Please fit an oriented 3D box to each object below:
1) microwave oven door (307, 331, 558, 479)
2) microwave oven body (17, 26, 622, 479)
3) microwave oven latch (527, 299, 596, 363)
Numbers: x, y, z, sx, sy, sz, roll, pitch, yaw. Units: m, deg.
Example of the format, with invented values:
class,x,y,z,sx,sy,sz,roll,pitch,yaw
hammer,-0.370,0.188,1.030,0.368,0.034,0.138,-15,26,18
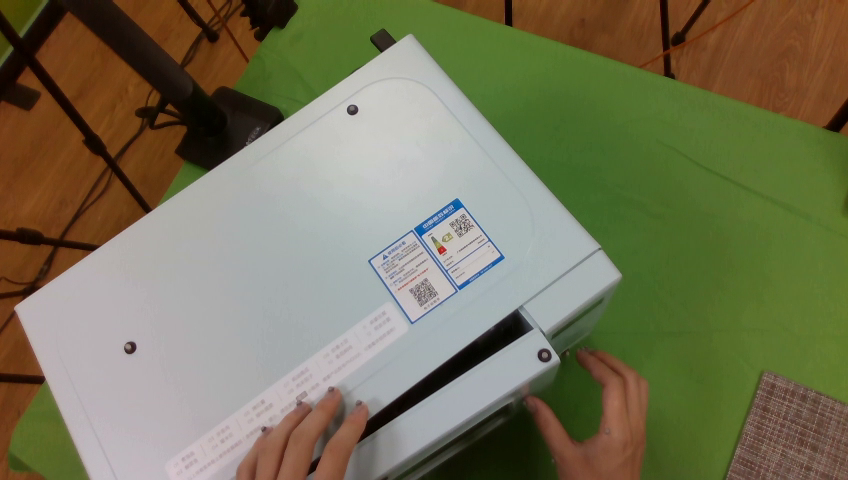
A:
class,x,y,z,sx,sy,sz,roll,pitch,yaw
microwave oven door,-0.036,0.206,0.561,0.356,0.245,0.039,-32,69,-3
microwave oven body,-0.090,0.065,0.621,0.441,0.262,0.323,-36,71,-3
microwave oven latch,0.152,0.102,0.674,0.079,0.030,0.030,-35,70,-3
